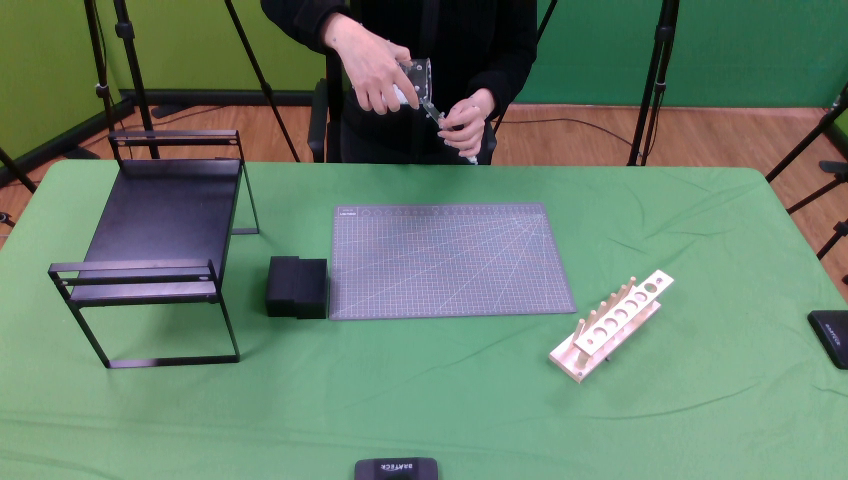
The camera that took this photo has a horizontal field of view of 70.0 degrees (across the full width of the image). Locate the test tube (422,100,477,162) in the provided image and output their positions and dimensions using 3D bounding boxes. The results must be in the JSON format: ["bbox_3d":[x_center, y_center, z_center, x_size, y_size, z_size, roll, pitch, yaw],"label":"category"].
[{"bbox_3d":[0.047,-0.186,1.053,0.017,0.151,0.017,-28,38,25],"label":"test tube"}]

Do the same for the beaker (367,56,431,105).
[{"bbox_3d":[-0.041,-0.254,0.980,0.100,0.084,0.073,-2,48,-4],"label":"beaker"}]

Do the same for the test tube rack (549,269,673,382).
[{"bbox_3d":[0.325,0.134,1.048,0.242,0.085,0.066,-32,56,-30],"label":"test tube rack"}]
